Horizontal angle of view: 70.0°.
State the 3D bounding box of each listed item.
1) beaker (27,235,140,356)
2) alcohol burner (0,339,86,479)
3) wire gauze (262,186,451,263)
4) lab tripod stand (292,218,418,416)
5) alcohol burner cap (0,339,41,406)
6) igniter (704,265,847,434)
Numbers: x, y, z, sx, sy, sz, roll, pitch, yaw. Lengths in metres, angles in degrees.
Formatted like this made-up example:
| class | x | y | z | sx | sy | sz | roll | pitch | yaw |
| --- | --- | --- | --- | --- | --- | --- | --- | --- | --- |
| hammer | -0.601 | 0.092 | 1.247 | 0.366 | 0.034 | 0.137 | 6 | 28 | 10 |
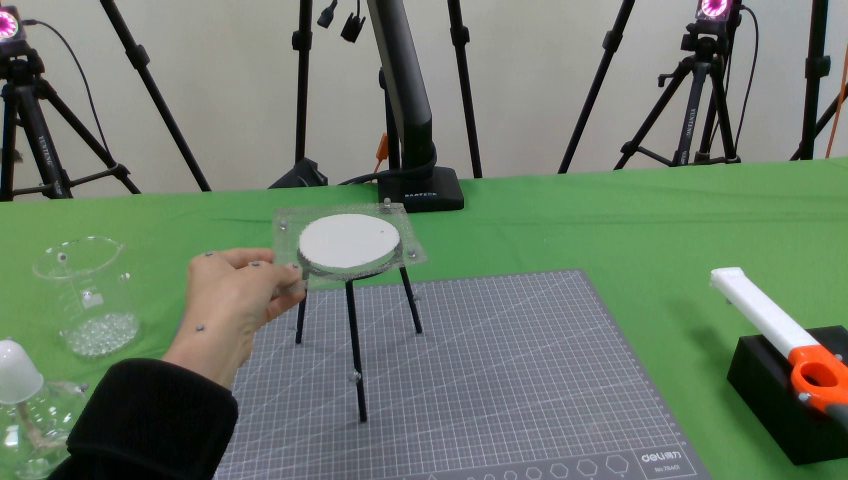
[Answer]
| class | x | y | z | sx | sy | sz | roll | pitch | yaw |
| --- | --- | --- | --- | --- | --- | --- | --- | --- | --- |
| beaker | -0.325 | 0.055 | 0.593 | 0.073 | 0.101 | 0.084 | 26 | 40 | 35 |
| alcohol burner | -0.308 | 0.125 | 0.466 | 0.078 | 0.120 | 0.077 | 1 | 30 | 0 |
| wire gauze | -0.059 | -0.014 | 0.504 | 0.125 | 0.011 | 0.120 | -12 | 28 | -31 |
| lab tripod stand | -0.063 | 0.060 | 0.544 | 0.148 | 0.132 | 0.147 | 1 | 33 | 0 |
| alcohol burner cap | -0.309 | 0.095 | 0.447 | 0.034 | 0.048 | 0.033 | 1 | 36 | 0 |
| igniter | 0.313 | 0.098 | 0.494 | 0.057 | 0.025 | 0.274 | -5 | 29 | -5 |
